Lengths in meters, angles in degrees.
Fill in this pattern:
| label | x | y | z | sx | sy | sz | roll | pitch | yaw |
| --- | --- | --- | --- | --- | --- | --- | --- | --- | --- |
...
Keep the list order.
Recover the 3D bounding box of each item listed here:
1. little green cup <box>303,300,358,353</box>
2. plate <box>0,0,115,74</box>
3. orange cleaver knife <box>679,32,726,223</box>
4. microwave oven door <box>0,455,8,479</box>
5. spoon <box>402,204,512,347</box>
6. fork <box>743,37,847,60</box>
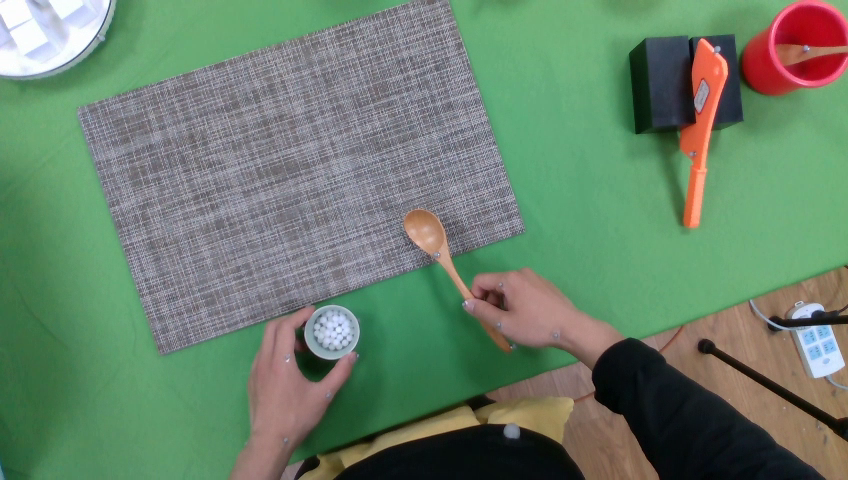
| label | x | y | z | sx | sy | sz | roll | pitch | yaw |
| --- | --- | --- | --- | --- | --- | --- | --- | --- | --- |
| little green cup | -0.105 | 0.098 | 0.695 | 0.061 | 0.038 | 0.061 | 0 | 88 | -2 |
| plate | -0.447 | -0.287 | 0.680 | 0.208 | 0.039 | 0.207 | 0 | 90 | -3 |
| orange cleaver knife | 0.309 | -0.124 | 0.692 | 0.012 | 0.076 | 0.213 | -4 | 119 | 0 |
| microwave oven door | -0.519 | 0.121 | 0.556 | 0.039 | 0.243 | 0.355 | -16 | 90 | -2 |
| spoon | 0.039 | 0.042 | 0.679 | 0.041 | 0.021 | 0.193 | -35 | 86 | 14 |
| fork | 0.467 | -0.217 | 0.668 | 0.206 | 0.019 | 0.028 | 10 | 86 | 39 |
